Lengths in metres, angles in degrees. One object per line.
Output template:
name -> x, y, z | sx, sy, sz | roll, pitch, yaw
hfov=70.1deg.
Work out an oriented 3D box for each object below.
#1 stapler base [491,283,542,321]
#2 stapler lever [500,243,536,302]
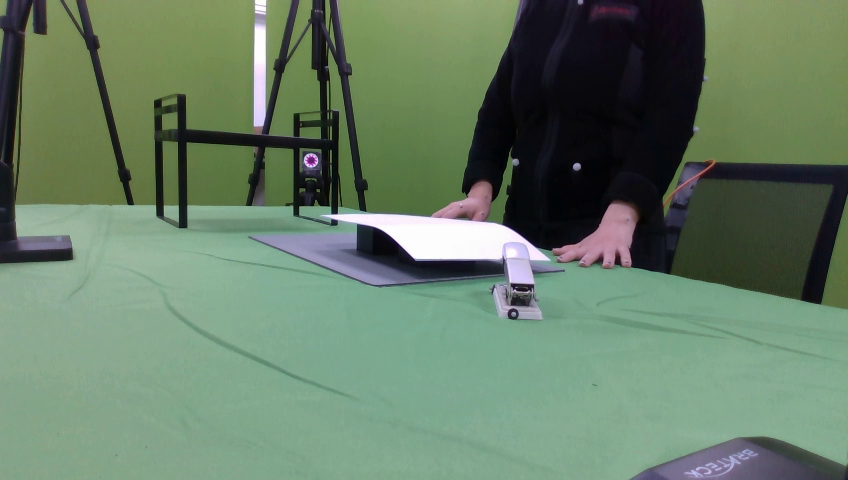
stapler base -> 0.092, 0.055, 0.613 | 0.041, 0.024, 0.130 | 2, 9, 3
stapler lever -> 0.093, 0.030, 0.608 | 0.027, 0.040, 0.118 | 2, 9, 3
